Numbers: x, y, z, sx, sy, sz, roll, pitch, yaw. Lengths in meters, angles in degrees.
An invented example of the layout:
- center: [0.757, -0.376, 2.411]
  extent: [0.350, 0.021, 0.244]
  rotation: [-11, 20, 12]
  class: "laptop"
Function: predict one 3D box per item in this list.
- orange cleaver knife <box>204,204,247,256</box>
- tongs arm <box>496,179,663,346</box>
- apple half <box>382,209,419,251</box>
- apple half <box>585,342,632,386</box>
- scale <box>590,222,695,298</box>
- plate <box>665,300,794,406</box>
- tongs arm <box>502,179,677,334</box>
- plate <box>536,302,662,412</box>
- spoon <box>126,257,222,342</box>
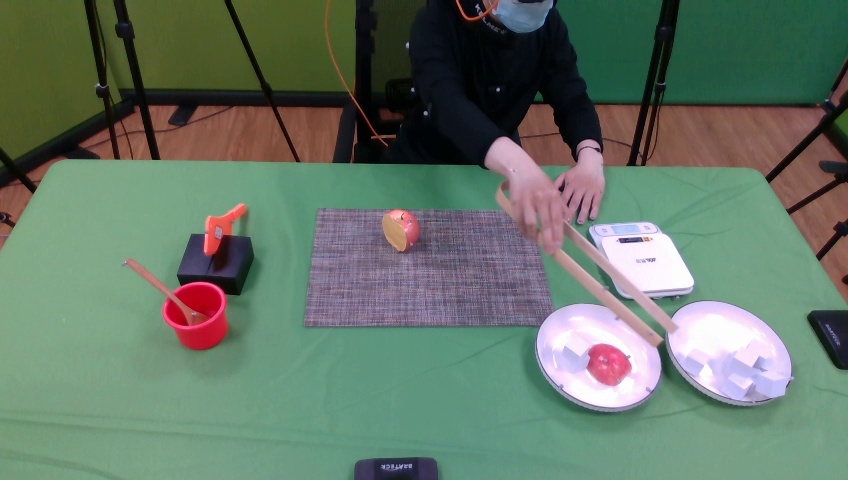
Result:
- center: [-0.374, -0.024, 1.146]
  extent: [0.012, 0.077, 0.211]
  rotation: [4, 14, 1]
  class: "orange cleaver knife"
- center: [0.257, 0.030, 1.035]
  extent: [0.051, 0.026, 0.383]
  rotation: [-32, 65, -33]
  class: "tongs arm"
- center: [-0.039, -0.022, 1.175]
  extent: [0.053, 0.075, 0.080]
  rotation: [-27, 49, -31]
  class: "apple half"
- center: [0.309, 0.198, 1.008]
  extent: [0.081, 0.033, 0.081]
  rotation: [4, 49, -4]
  class: "apple half"
- center: [0.424, 0.031, 1.189]
  extent: [0.149, 0.032, 0.199]
  rotation: [-3, 46, -7]
  class: "scale"
- center: [0.513, 0.194, 1.034]
  extent: [0.208, 0.039, 0.206]
  rotation: [2, 46, -2]
  class: "plate"
- center: [0.278, 0.019, 1.050]
  extent: [0.028, 0.028, 0.385]
  rotation: [-30, 64, -29]
  class: "tongs arm"
- center: [0.288, 0.197, 1.016]
  extent: [0.209, 0.038, 0.208]
  rotation: [2, 46, -2]
  class: "plate"
- center: [-0.408, 0.096, 0.990]
  extent: [0.194, 0.021, 0.041]
  rotation: [50, 53, -18]
  class: "spoon"
